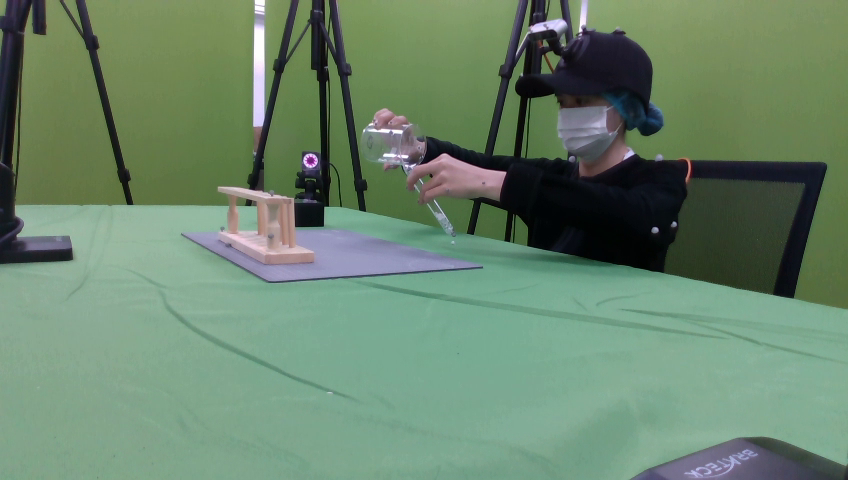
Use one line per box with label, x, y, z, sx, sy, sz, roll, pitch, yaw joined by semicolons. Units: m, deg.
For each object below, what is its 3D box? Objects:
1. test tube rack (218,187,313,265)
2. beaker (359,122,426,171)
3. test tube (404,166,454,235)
test tube rack;-0.235;-0.027;0.872;0.067;0.085;0.241;-2;8;-32
beaker;-0.058;-0.167;1.062;0.100;0.084;0.074;12;0;37
test tube;0.008;-0.067;1.004;0.017;0.017;0.149;-5;53;-44
